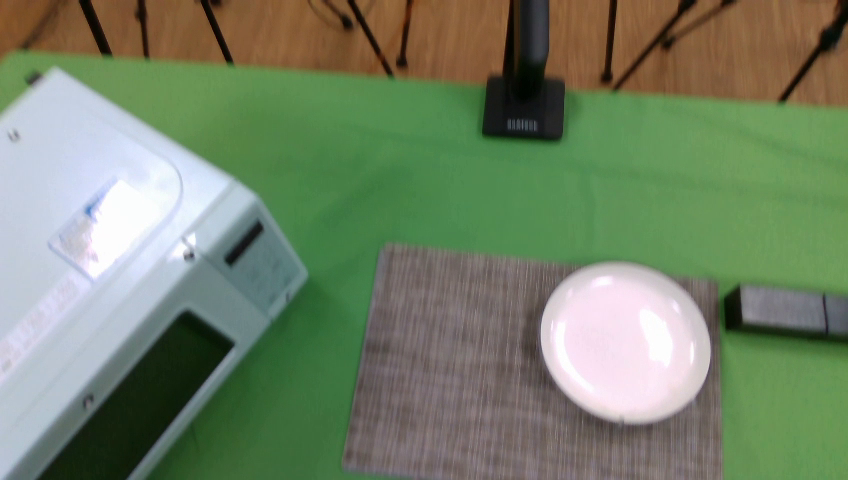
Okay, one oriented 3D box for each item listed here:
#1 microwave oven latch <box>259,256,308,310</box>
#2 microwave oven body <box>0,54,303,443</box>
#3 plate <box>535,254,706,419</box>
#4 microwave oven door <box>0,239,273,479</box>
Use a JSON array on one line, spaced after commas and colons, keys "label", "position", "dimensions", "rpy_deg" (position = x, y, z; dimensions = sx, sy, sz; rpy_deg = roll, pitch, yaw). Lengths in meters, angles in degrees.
[{"label": "microwave oven latch", "position": [-0.185, 0.051, 0.790], "dimensions": [0.030, 0.030, 0.079], "rpy_deg": [33, 74, 14]}, {"label": "microwave oven body", "position": [-0.412, 0.077, 0.684], "dimensions": [0.324, 0.262, 0.440], "rpy_deg": [32, 73, 13]}, {"label": "plate", "position": [0.242, 0.120, 0.761], "dimensions": [0.207, 0.039, 0.206], "rpy_deg": [-1, 68, 2]}, {"label": "microwave oven door", "position": [-0.315, 0.181, 0.633], "dimensions": [0.039, 0.245, 0.355], "rpy_deg": [31, 73, 15]}]
